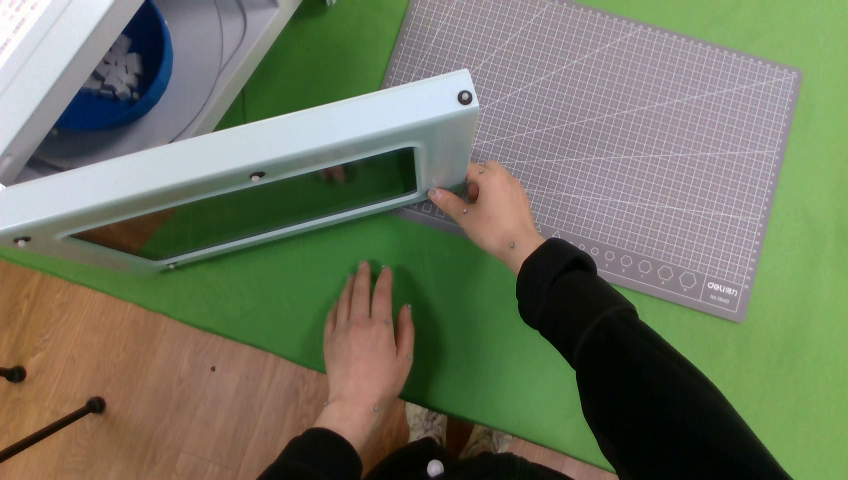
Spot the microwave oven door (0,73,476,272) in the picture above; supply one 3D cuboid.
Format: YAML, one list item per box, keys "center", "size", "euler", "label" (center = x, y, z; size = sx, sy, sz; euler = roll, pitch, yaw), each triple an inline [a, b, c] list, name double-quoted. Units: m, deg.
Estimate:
- center: [-0.135, -0.045, 0.527]
  size: [0.356, 0.244, 0.039]
  euler: [-15, 81, -2]
  label: "microwave oven door"

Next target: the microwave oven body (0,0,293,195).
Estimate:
- center: [-0.312, -0.255, 0.561]
  size: [0.325, 0.261, 0.441]
  euler: [32, 84, 4]
  label: "microwave oven body"

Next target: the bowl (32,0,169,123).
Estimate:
- center: [-0.308, -0.173, 0.581]
  size: [0.151, 0.077, 0.150]
  euler: [0, 79, 2]
  label: "bowl"
